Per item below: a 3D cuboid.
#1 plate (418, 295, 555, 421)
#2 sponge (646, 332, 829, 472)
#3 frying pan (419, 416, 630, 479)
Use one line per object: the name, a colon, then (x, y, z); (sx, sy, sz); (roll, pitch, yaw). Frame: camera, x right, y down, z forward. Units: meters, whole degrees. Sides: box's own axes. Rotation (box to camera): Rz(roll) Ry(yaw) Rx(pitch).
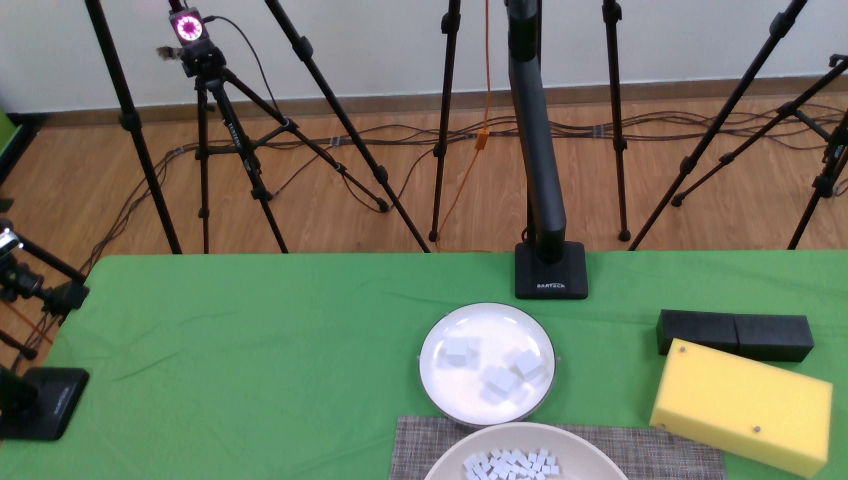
plate: (0.095, 0.181, 0.928); (0.207, 0.039, 0.205); (-4, 52, 6)
sponge: (0.427, 0.217, 0.831); (0.206, 0.061, 0.117); (15, 53, 20)
frying pan: (0.107, 0.439, 0.675); (0.306, 0.104, 0.484); (2, 44, 12)
